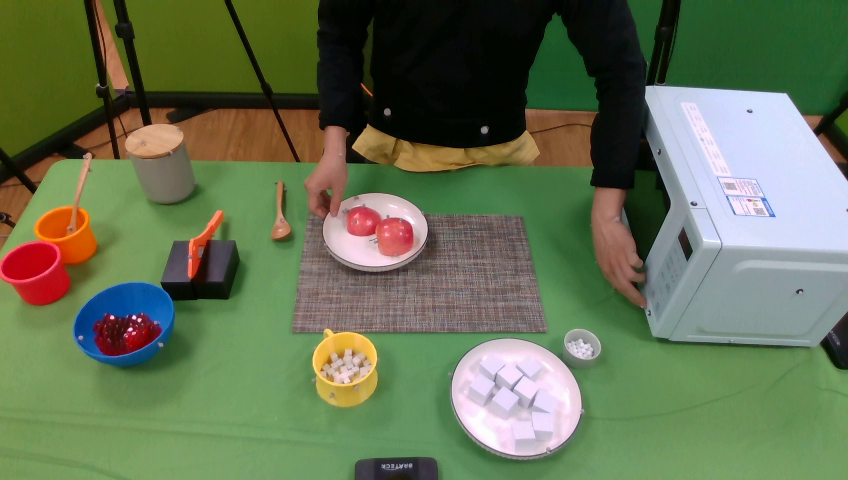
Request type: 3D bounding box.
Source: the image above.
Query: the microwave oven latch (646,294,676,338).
[{"bbox_3d":[0.412,0.132,1.061,0.030,0.029,0.078,3,46,0],"label":"microwave oven latch"}]

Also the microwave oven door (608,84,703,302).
[{"bbox_3d":[0.424,-0.096,1.138,0.039,0.245,0.353,2,46,-1],"label":"microwave oven door"}]

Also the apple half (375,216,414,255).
[{"bbox_3d":[-0.056,-0.017,1.169,0.075,0.053,0.080,0,46,-7],"label":"apple half"}]

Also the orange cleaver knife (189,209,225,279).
[{"bbox_3d":[-0.401,0.002,1.122,0.012,0.077,0.210,4,23,-4],"label":"orange cleaver knife"}]

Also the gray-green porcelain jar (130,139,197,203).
[{"bbox_3d":[-0.522,-0.148,1.225,0.106,0.127,0.105,2,47,-2],"label":"gray-green porcelain jar"}]

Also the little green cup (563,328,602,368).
[{"bbox_3d":[0.265,0.184,1.025,0.061,0.039,0.061,1,46,-1],"label":"little green cup"}]

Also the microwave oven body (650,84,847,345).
[{"bbox_3d":[0.569,-0.054,1.116,0.326,0.261,0.439,2,46,-1],"label":"microwave oven body"}]

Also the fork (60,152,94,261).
[{"bbox_3d":[-0.638,-0.063,1.119,0.028,0.018,0.207,12,90,7],"label":"fork"}]

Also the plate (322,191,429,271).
[{"bbox_3d":[-0.093,-0.015,1.185,0.209,0.038,0.208,2,46,-2],"label":"plate"}]

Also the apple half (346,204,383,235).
[{"bbox_3d":[-0.119,-0.049,1.207,0.081,0.033,0.081,3,51,-3],"label":"apple half"}]

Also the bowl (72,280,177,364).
[{"bbox_3d":[-0.473,0.147,0.982,0.151,0.077,0.150,2,46,-2],"label":"bowl"}]

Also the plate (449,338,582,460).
[{"bbox_3d":[0.141,0.251,0.956,0.208,0.039,0.206,2,46,-2],"label":"plate"}]

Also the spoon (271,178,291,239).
[{"bbox_3d":[-0.293,-0.068,1.237,0.041,0.022,0.192,-19,48,7],"label":"spoon"}]

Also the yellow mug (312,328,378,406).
[{"bbox_3d":[-0.132,0.193,0.971,0.100,0.064,0.130,-22,51,-22],"label":"yellow mug"}]

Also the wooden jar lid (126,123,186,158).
[{"bbox_3d":[-0.519,-0.190,1.179,0.108,0.021,0.107,2,44,-2],"label":"wooden jar lid"}]
